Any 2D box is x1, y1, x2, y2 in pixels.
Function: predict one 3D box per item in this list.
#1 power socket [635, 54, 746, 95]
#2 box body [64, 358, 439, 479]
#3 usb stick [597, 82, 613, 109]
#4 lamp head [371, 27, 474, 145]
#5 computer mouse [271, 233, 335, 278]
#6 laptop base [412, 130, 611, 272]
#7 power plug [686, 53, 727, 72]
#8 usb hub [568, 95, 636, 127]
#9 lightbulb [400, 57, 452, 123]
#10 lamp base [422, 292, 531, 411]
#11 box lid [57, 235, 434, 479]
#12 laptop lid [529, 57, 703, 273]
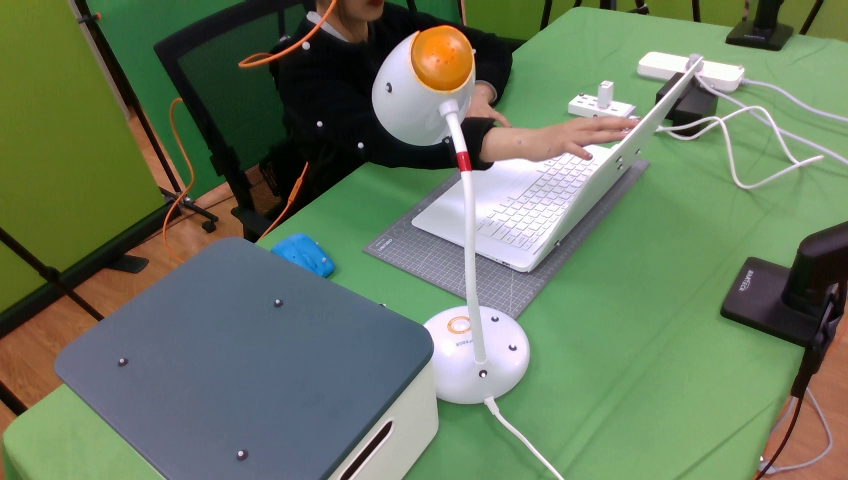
[{"bbox_3d":[0.565,-0.357,1.293,0.225,0.033,0.072,24,51,33],"label":"power socket"},{"bbox_3d":[-0.189,0.178,0.702,0.361,0.161,0.255,22,49,32],"label":"box body"},{"bbox_3d":[0.360,-0.281,1.204,0.021,0.059,0.027,23,49,33],"label":"usb stick"},{"bbox_3d":[0.007,-0.167,0.644,0.113,0.112,0.122,-22,2,-14],"label":"lamp head"},{"bbox_3d":[-0.198,0.029,0.981,0.063,0.041,0.116,-31,48,-27],"label":"computer mouse"},{"bbox_3d":[0.176,-0.083,1.055,0.233,0.023,0.355,21,48,36],"label":"laptop base"},{"bbox_3d":[0.584,-0.361,1.260,0.072,0.053,0.035,15,55,17],"label":"power plug"},{"bbox_3d":[0.360,-0.263,1.228,0.124,0.025,0.049,24,49,34],"label":"usb hub"},{"bbox_3d":[0.003,-0.169,0.668,0.059,0.108,0.059,0,79,-1],"label":"lightbulb"},{"bbox_3d":[0.054,0.095,0.740,0.161,0.181,0.177,-19,43,-11],"label":"lamp base"},{"bbox_3d":[-0.198,0.123,0.653,0.368,0.015,0.264,22,49,32],"label":"box lid"},{"bbox_3d":[0.286,-0.111,0.896,0.013,0.242,0.358,39,55,15],"label":"laptop lid"}]
